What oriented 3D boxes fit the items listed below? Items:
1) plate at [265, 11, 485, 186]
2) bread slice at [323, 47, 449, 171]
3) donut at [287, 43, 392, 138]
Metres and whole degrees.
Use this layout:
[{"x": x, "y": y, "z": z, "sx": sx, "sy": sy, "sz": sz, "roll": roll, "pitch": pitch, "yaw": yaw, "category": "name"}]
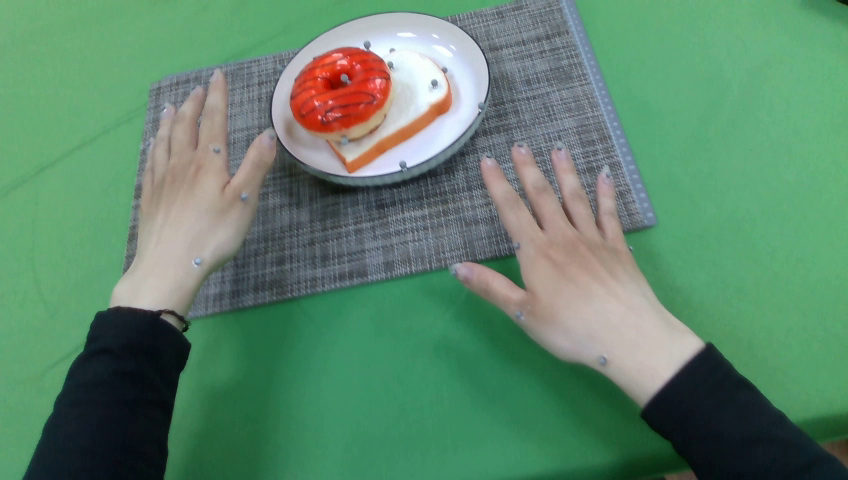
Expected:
[{"x": -0.045, "y": -0.132, "z": 0.575, "sx": 0.207, "sy": 0.039, "sz": 0.206, "roll": -4, "pitch": 59, "yaw": 7, "category": "plate"}, {"x": -0.044, "y": -0.135, "z": 0.579, "sx": 0.131, "sy": 0.019, "sz": 0.104, "roll": -34, "pitch": 60, "yaw": -9, "category": "bread slice"}, {"x": -0.077, "y": -0.137, "z": 0.550, "sx": 0.099, "sy": 0.049, "sz": 0.098, "roll": -5, "pitch": 61, "yaw": 10, "category": "donut"}]
